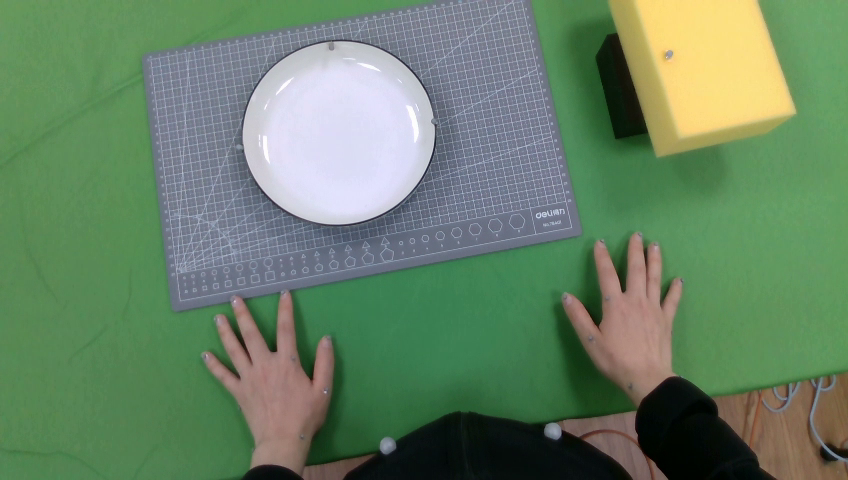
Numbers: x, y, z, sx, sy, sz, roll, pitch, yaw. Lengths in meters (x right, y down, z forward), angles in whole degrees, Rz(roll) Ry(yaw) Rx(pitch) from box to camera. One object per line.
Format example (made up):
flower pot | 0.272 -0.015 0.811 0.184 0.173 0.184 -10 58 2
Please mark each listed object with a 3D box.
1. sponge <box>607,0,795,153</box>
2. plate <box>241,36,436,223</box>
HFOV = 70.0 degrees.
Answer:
sponge | 0.270 -0.203 0.611 0.118 0.061 0.206 -14 81 -2
plate | -0.091 -0.117 0.660 0.209 0.038 0.208 0 81 0
